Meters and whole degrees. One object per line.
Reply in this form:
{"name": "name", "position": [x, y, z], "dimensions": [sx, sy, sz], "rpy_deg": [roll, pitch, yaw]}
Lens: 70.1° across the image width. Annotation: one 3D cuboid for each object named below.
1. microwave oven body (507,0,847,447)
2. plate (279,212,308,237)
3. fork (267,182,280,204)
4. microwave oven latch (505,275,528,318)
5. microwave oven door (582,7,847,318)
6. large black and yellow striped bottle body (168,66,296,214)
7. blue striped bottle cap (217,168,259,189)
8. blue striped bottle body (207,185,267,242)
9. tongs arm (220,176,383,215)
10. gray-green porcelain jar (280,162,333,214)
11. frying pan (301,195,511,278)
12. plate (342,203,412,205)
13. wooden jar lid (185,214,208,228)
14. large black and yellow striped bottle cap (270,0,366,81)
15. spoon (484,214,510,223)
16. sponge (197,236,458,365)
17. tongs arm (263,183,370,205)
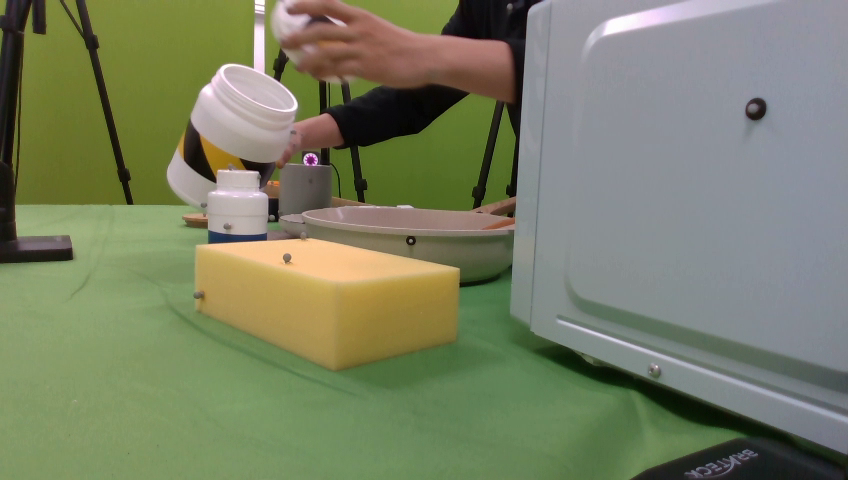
{"name": "microwave oven body", "position": [0.331, -0.042, 0.425], "dimensions": [0.444, 0.260, 0.324], "rpy_deg": [-2, 8, -31]}
{"name": "plate", "position": [-0.139, -0.022, 1.020], "dimensions": [0.209, 0.038, 0.209], "rpy_deg": [2, 8, 0]}
{"name": "fork", "position": [-0.396, -0.143, 1.486], "dimensions": [0.028, 0.018, 0.208], "rpy_deg": [20, -26, 45]}
{"name": "microwave oven latch", "position": [0.100, 0.041, 0.472], "dimensions": [0.079, 0.029, 0.030], "rpy_deg": [-2, 8, -31]}
{"name": "microwave oven door", "position": [0.295, -0.067, 0.569], "dimensions": [0.358, 0.243, 0.039], "rpy_deg": [-3, 8, -31]}
{"name": "large black and yellow striped bottle body", "position": [-0.267, -0.138, 0.853], "dimensions": [0.131, 0.183, 0.130], "rpy_deg": [27, 27, -15]}
{"name": "blue striped bottle cap", "position": [-0.202, -0.067, 0.656], "dimensions": [0.044, 0.020, 0.044], "rpy_deg": [0, 10, 0]}
{"name": "blue striped bottle body", "position": [-0.204, -0.016, 0.662], "dimensions": [0.063, 0.120, 0.063], "rpy_deg": [2, 8, 0]}
{"name": "tongs arm", "position": [-0.285, -0.104, 1.445], "dimensions": [0.389, 0.027, 0.028], "rpy_deg": [9, -4, -23]}
{"name": "gray-green porcelain jar", "position": [-0.238, -0.092, 1.221], "dimensions": [0.106, 0.126, 0.106], "rpy_deg": [2, 7, 0]}
{"name": "frying pan", "position": [0.051, -0.029, 0.864], "dimensions": [0.305, 0.102, 0.490], "rpy_deg": [8, 18, 35]}
{"name": "plate", "position": [-0.089, -0.053, 1.309], "dimensions": [0.208, 0.039, 0.207], "rpy_deg": [2, 8, 0]}
{"name": "wooden jar lid", "position": [-0.404, -0.037, 1.169], "dimensions": [0.108, 0.020, 0.108], "rpy_deg": [3, 7, 0]}
{"name": "large black and yellow striped bottle cap", "position": [-0.121, -0.239, 0.704], "dimensions": [0.115, 0.114, 0.018], "rpy_deg": [-4, -19, -37]}
{"name": "spoon", "position": [0.076, -0.013, 0.794], "dimensions": [0.193, 0.021, 0.042], "rpy_deg": [-24, -2, 11]}
{"name": "sponge", "position": [-0.087, 0.039, 0.500], "dimensions": [0.206, 0.061, 0.119], "rpy_deg": [8, 9, 44]}
{"name": "tongs arm", "position": [-0.241, -0.095, 1.373], "dimensions": [0.387, 0.026, 0.050], "rpy_deg": [9, 0, -37]}
